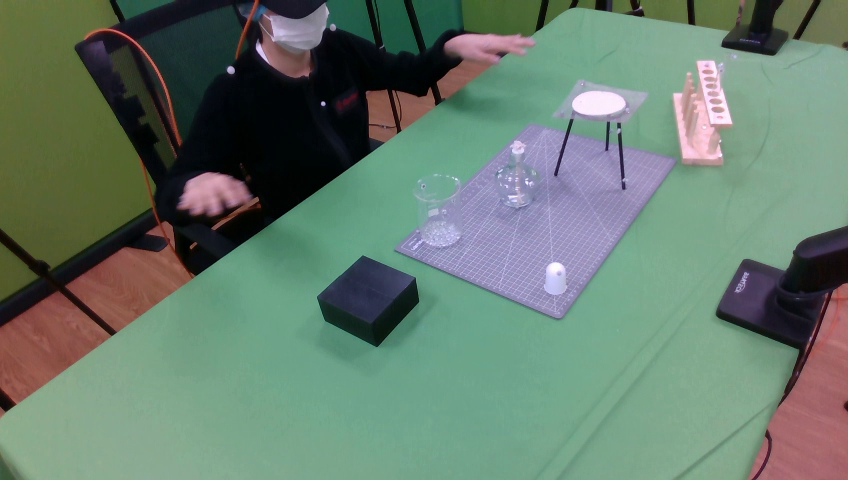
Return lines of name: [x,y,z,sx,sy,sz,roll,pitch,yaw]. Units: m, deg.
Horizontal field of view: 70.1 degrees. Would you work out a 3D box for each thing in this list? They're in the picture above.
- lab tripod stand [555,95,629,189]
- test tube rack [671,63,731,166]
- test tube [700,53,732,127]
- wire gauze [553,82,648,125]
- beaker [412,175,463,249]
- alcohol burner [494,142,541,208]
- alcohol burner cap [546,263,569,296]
lab tripod stand: [0.300,-0.174,1.045,0.148,0.132,0.147,-5,38,5]
test tube rack: [0.513,-0.241,1.132,0.066,0.085,0.242,4,41,14]
test tube: [0.521,-0.265,1.081,0.017,0.151,0.017,-3,47,3]
wire gauze: [0.293,-0.225,1.002,0.120,0.011,0.125,17,45,27]
beaker: [0.027,-0.043,0.959,0.084,0.101,0.073,-26,43,-22]
alcohol burner: [0.157,-0.113,1.011,0.078,0.119,0.077,-3,41,3]
alcohol burner cap: [0.191,0.053,0.862,0.034,0.048,0.033,-5,40,4]
